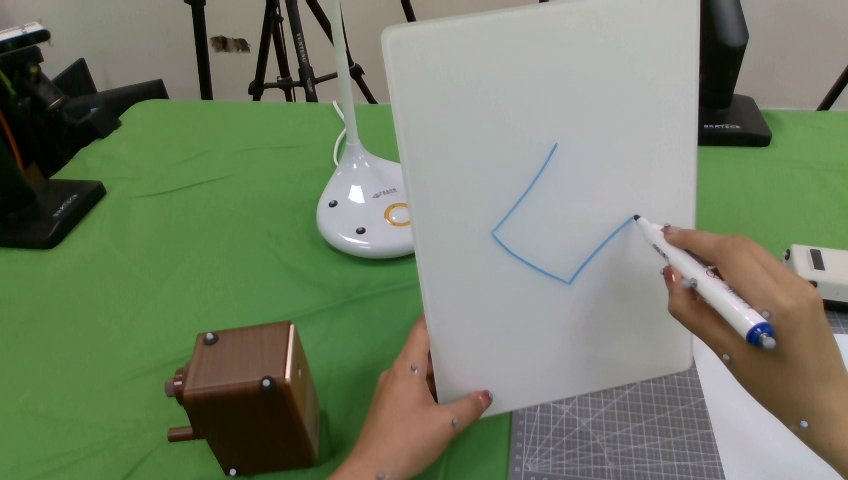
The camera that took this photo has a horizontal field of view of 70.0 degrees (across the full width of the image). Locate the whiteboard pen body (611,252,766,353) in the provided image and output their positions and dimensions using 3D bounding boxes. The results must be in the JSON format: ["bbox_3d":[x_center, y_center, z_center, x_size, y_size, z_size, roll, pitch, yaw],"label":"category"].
[{"bbox_3d":[0.163,0.034,0.396,0.017,0.017,0.139,-16,25,-13],"label":"whiteboard pen body"}]

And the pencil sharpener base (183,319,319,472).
[{"bbox_3d":[-0.126,0.118,0.452,0.077,0.108,0.060,-7,40,-2],"label":"pencil sharpener base"}]

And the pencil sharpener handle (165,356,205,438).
[{"bbox_3d":[-0.177,0.117,0.438,0.030,0.068,0.035,-7,27,-2],"label":"pencil sharpener handle"}]

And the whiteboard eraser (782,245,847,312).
[{"bbox_3d":[0.389,0.038,0.546,0.112,0.042,0.055,9,42,16],"label":"whiteboard eraser"}]

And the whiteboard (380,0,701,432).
[{"bbox_3d":[0.088,-0.032,0.502,0.217,0.307,0.142,-11,21,-6],"label":"whiteboard"}]

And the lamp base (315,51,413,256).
[{"bbox_3d":[-0.057,-0.101,0.650,0.161,0.182,0.177,-29,43,-27],"label":"lamp base"}]
